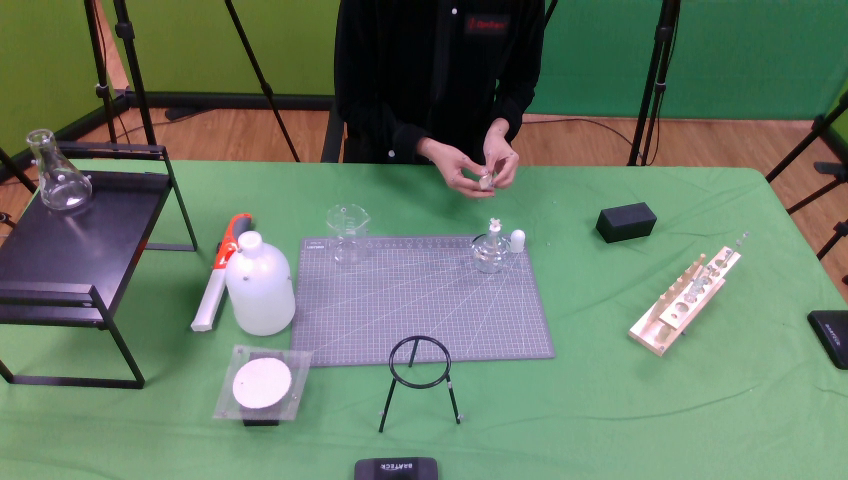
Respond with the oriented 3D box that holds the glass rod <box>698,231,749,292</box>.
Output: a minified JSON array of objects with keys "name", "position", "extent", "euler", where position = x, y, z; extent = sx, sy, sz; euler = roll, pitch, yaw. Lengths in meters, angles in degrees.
[{"name":"glass rod","position":[0.514,0.044,1.051],"extent":[0.008,0.200,0.008],"euler":[1,55,-1]}]

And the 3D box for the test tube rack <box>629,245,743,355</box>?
[{"name":"test tube rack","position":[0.474,0.095,1.091],"extent":[0.242,0.085,0.066],"euler":[-34,56,-31]}]

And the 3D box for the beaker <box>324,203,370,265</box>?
[{"name":"beaker","position":[-0.142,-0.009,1.137],"extent":[0.084,0.101,0.073],"euler":[-3,47,-7]}]

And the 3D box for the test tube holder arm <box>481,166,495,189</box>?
[{"name":"test tube holder arm","position":[0.125,-0.123,1.174],"extent":[0.015,0.013,0.178],"euler":[-17,12,15]}]

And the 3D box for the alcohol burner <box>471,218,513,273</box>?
[{"name":"alcohol burner","position":[0.128,0.005,1.132],"extent":[0.078,0.120,0.077],"euler":[0,47,0]}]

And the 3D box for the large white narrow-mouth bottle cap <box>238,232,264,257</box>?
[{"name":"large white narrow-mouth bottle cap","position":[-0.266,0.006,0.932],"extent":[0.038,0.024,0.037],"euler":[2,46,-2]}]

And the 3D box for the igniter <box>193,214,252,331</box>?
[{"name":"igniter","position":[-0.368,0.050,1.119],"extent":[0.057,0.025,0.275],"euler":[-3,46,8]}]

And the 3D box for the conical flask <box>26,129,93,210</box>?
[{"name":"conical flask","position":[-0.575,-0.113,0.946],"extent":[0.075,0.122,0.075],"euler":[2,46,-2]}]

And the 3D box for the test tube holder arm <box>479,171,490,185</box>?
[{"name":"test tube holder arm","position":[0.114,-0.116,1.130],"extent":[0.015,0.010,0.087],"euler":[-17,12,15]}]

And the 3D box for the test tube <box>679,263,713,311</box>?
[{"name":"test tube","position":[0.453,0.092,1.023],"extent":[0.017,0.151,0.017],"euler":[1,49,-1]}]

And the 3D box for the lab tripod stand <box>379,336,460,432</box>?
[{"name":"lab tripod stand","position":[-0.010,0.214,0.911],"extent":[0.148,0.132,0.147],"euler":[1,45,0]}]

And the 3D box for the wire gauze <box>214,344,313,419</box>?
[{"name":"wire gauze","position":[-0.241,0.213,0.915],"extent":[0.121,0.011,0.124],"euler":[5,46,1]}]

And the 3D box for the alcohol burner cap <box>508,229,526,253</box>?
[{"name":"alcohol burner cap","position":[0.185,-0.002,1.192],"extent":[0.034,0.048,0.033],"euler":[3,44,-2]}]

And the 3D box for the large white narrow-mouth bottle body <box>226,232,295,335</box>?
[{"name":"large white narrow-mouth bottle body","position":[-0.270,0.065,0.995],"extent":[0.102,0.195,0.101],"euler":[2,46,-2]}]
